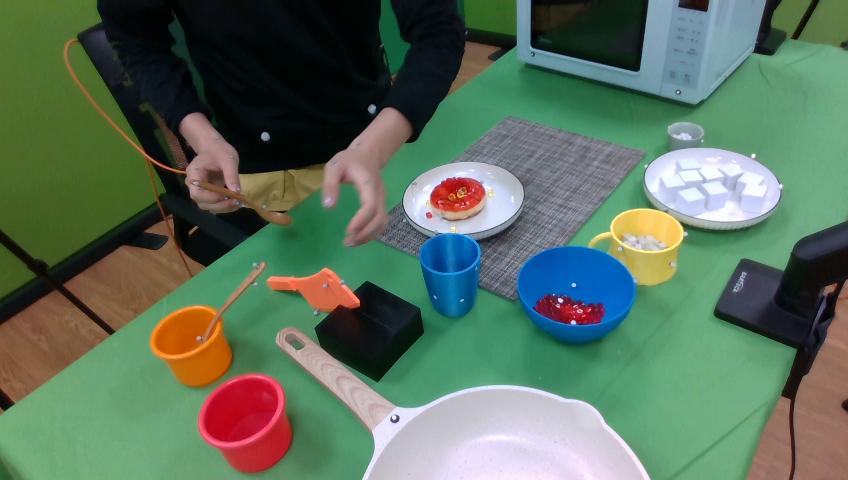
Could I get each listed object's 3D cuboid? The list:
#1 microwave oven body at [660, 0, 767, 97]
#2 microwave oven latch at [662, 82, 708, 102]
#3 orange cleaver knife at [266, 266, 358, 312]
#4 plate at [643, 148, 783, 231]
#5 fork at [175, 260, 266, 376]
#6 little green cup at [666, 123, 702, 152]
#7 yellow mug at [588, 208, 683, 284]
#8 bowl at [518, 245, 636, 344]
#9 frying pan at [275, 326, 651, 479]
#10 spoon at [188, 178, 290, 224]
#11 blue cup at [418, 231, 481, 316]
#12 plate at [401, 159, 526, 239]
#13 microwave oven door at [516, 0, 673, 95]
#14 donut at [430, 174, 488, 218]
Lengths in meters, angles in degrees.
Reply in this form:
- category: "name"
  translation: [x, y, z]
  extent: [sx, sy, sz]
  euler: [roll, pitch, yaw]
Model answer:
- category: "microwave oven body"
  translation: [0.473, -0.517, 1.313]
  extent: [0.438, 0.261, 0.327]
  euler: [26, 51, 34]
- category: "microwave oven latch"
  translation: [0.518, -0.298, 1.203]
  extent: [0.078, 0.029, 0.030]
  euler: [28, 53, 35]
- category: "orange cleaver knife"
  translation: [-0.164, 0.073, 0.864]
  extent: [0.210, 0.077, 0.012]
  euler: [-6, 29, 50]
- category: "plate"
  translation: [0.464, -0.079, 0.985]
  extent: [0.207, 0.039, 0.206]
  euler: [-4, 41, 4]
- category: "fork"
  translation: [-0.268, 0.103, 0.792]
  extent: [0.207, 0.019, 0.028]
  euler: [-51, 40, 16]
- category: "little green cup"
  translation: [0.472, -0.183, 1.102]
  extent: [0.061, 0.039, 0.061]
  euler: [-6, 40, 5]
- category: "yellow mug"
  translation: [0.305, 0.009, 0.884]
  extent: [0.131, 0.064, 0.099]
  euler: [-4, 40, 5]
- category: "bowl"
  translation: [0.200, 0.084, 0.802]
  extent: [0.151, 0.077, 0.150]
  euler: [-4, 40, 4]
- category: "frying pan"
  translation: [0.004, 0.229, 0.641]
  extent: [0.484, 0.103, 0.308]
  euler: [34, 54, 28]
- category: "spoon"
  translation: [-0.269, -0.059, 0.895]
  extent: [0.041, 0.195, 0.021]
  euler: [38, 92, 33]
- category: "blue cup"
  translation: [0.040, 0.053, 0.843]
  extent: [0.092, 0.100, 0.092]
  euler: [-4, 43, 4]
- category: "plate"
  translation: [0.067, -0.065, 1.019]
  extent: [0.209, 0.038, 0.208]
  euler: [-4, 40, 4]
- category: "microwave oven door"
  translation: [0.344, -0.458, 1.256]
  extent: [0.353, 0.245, 0.039]
  euler: [26, 51, 33]
- category: "donut"
  translation: [0.058, -0.075, 1.015]
  extent: [0.099, 0.048, 0.098]
  euler: [-6, 37, 5]
